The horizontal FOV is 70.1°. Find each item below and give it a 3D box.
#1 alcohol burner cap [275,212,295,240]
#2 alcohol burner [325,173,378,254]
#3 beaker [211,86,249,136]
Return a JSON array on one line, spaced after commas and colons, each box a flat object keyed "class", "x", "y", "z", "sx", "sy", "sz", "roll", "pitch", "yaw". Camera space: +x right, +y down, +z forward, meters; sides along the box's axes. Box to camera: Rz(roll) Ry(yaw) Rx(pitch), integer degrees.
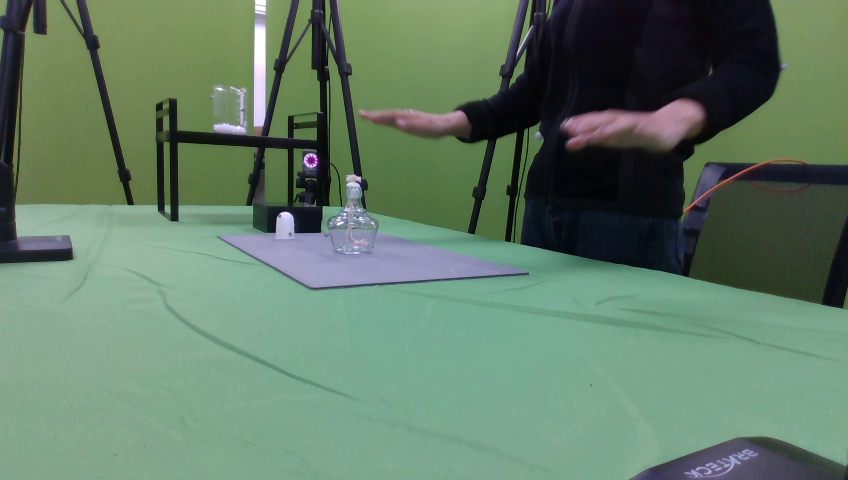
[{"class": "alcohol burner cap", "x": -0.233, "y": -0.024, "z": 1.013, "sx": 0.034, "sy": 0.048, "sz": 0.034, "roll": 1, "pitch": 7, "yaw": 0}, {"class": "alcohol burner", "x": -0.107, "y": -0.040, "z": 0.896, "sx": 0.078, "sy": 0.119, "sz": 0.078, "roll": 2, "pitch": 5, "yaw": 0}, {"class": "beaker", "x": -0.413, "y": -0.274, "z": 1.297, "sx": 0.074, "sy": 0.100, "sz": 0.083, "roll": -5, "pitch": 11, "yaw": -44}]
